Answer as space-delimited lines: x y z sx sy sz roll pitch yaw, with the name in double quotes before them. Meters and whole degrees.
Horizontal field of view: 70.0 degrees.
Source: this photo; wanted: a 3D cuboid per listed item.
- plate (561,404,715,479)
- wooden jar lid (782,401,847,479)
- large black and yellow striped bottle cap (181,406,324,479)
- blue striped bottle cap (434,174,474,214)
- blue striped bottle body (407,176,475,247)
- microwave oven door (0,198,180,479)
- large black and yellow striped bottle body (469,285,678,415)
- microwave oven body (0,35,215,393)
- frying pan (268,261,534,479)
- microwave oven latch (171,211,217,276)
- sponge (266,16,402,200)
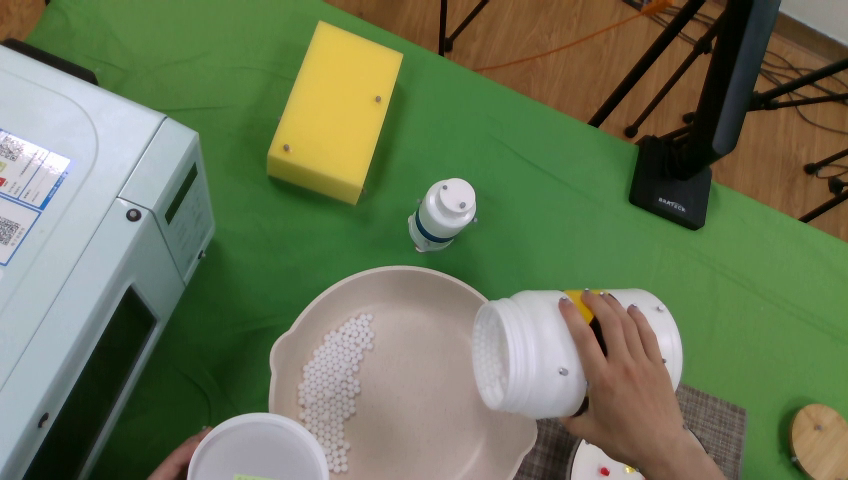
"plate" 0.260 0.304 0.744 0.210 0.038 0.208 5 71 -14
"wooden jar lid" 0.548 0.280 0.848 0.109 0.021 0.108 4 73 -14
"large black and yellow striped bottle cap" -0.141 0.188 0.507 0.115 0.019 0.114 4 32 -2
"blue striped bottle cap" 0.035 -0.054 0.698 0.045 0.020 0.044 4 73 -14
"blue striped bottle body" 0.022 -0.037 0.745 0.063 0.121 0.062 5 71 -14
"microwave oven door" -0.310 0.156 0.501 0.039 0.244 0.354 23 67 -8
"large black and yellow striped bottle body" 0.150 0.113 0.634 0.184 0.131 0.130 0 72 -15
"microwave oven body" -0.429 0.065 0.503 0.327 0.260 0.439 23 68 -8
"frying pan" -0.054 0.257 0.635 0.307 0.103 0.484 22 60 -6
"microwave oven latch" -0.261 -0.002 0.677 0.030 0.029 0.079 26 68 -7
"sponge" -0.114 -0.170 0.780 0.118 0.061 0.205 18 69 -10
